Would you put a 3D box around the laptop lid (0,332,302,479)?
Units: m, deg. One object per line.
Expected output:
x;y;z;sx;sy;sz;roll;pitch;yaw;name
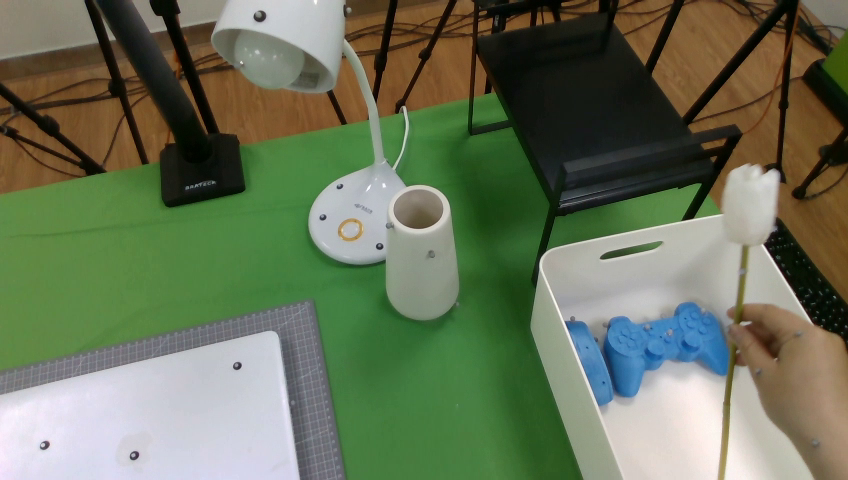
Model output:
-0.326;0.248;0.692;0.357;0.013;0.239;-12;59;-7;laptop lid

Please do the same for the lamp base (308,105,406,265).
-0.086;-0.085;0.829;0.160;0.182;0.178;16;55;11;lamp base

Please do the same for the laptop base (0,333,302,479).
-0.327;0.253;0.703;0.355;0.023;0.233;-13;61;-8;laptop base

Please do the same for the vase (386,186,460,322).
-0.005;0.021;0.747;0.098;0.202;0.097;-1;55;2;vase

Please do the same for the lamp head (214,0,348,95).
-0.117;-0.207;0.551;0.112;0.113;0.122;13;75;9;lamp head

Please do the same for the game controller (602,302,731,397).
0.300;0.132;0.756;0.155;0.052;0.096;-10;55;-7;game controller

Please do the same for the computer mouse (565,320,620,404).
0.192;0.148;0.748;0.063;0.041;0.116;-15;48;-6;computer mouse

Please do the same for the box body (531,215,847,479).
0.288;0.178;0.662;0.254;0.162;0.360;-12;57;-6;box body

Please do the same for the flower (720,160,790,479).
0.270;0.107;0.520;0.038;0.364;0.044;1;26;16;flower
